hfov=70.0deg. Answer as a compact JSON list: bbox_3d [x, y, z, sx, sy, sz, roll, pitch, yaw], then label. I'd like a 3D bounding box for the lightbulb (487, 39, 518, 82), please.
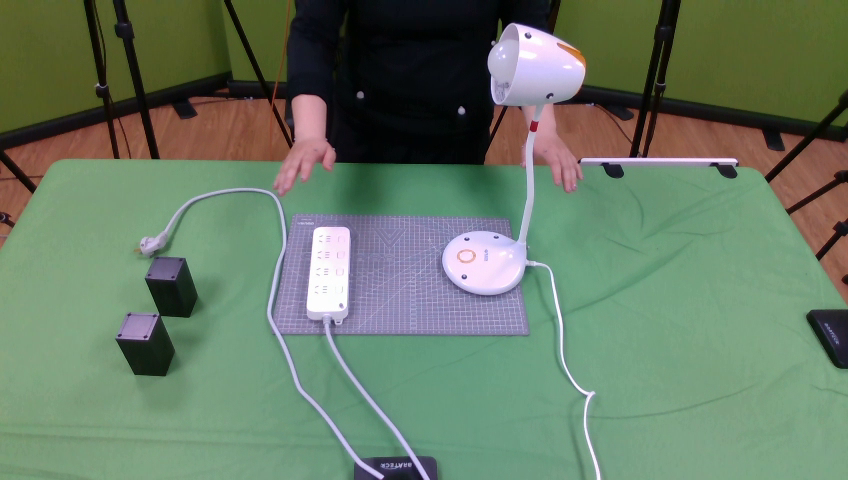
[{"bbox_3d":[0.143,-0.251,0.865,0.108,0.060,0.059,9,45,-7],"label":"lightbulb"}]

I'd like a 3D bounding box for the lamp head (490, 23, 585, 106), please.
[{"bbox_3d":[0.165,-0.241,0.872,0.123,0.113,0.111,9,43,-17],"label":"lamp head"}]

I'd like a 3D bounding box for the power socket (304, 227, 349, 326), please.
[{"bbox_3d":[-0.177,0.059,1.115,0.072,0.033,0.225,-1,46,-4],"label":"power socket"}]

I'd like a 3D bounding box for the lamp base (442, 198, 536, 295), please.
[{"bbox_3d":[0.130,-0.012,1.105,0.179,0.181,0.159,-1,46,-9],"label":"lamp base"}]

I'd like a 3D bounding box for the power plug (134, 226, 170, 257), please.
[{"bbox_3d":[-0.515,0.005,1.152,0.052,0.035,0.072,-6,24,6],"label":"power plug"}]
